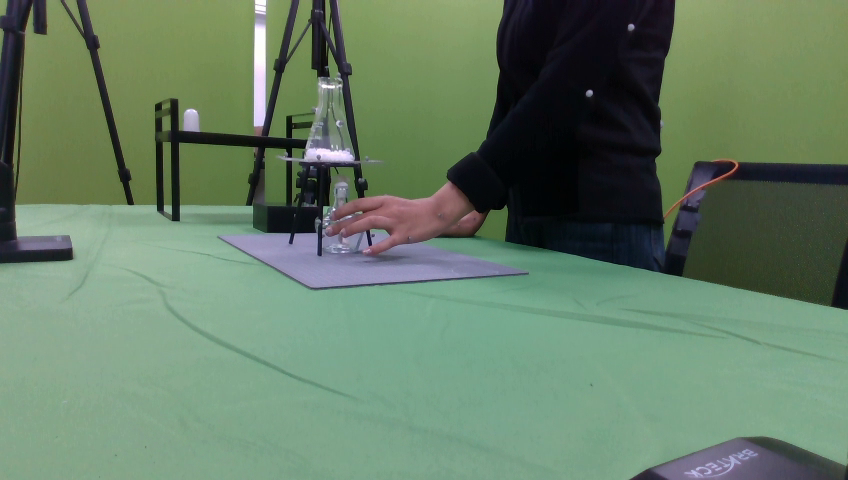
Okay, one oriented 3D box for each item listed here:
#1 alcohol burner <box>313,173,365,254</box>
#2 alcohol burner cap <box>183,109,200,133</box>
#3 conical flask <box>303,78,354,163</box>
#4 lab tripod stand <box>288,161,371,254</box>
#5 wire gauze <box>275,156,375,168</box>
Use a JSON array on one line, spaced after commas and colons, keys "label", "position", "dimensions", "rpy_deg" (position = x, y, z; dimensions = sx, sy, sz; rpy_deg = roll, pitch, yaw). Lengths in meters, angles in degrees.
[{"label": "alcohol burner", "position": [-0.126, -0.040, 0.898], "dimensions": [0.078, 0.119, 0.078], "rpy_deg": [1, 6, 0]}, {"label": "alcohol burner cap", "position": [-0.472, -0.241, 1.229], "dimensions": [0.034, 0.048, 0.034], "rpy_deg": [3, 8, 0]}, {"label": "conical flask", "position": [-0.140, -0.175, 0.892], "dimensions": [0.075, 0.122, 0.075], "rpy_deg": [1, 7, 0]}, {"label": "lab tripod stand", "position": [-0.148, -0.052, 0.908], "dimensions": [0.148, 0.131, 0.148], "rpy_deg": [1, 8, 0]}, {"label": "wire gauze", "position": [-0.142, -0.116, 0.899], "dimensions": [0.122, 0.011, 0.124], "rpy_deg": [-1, 5, -36]}]
